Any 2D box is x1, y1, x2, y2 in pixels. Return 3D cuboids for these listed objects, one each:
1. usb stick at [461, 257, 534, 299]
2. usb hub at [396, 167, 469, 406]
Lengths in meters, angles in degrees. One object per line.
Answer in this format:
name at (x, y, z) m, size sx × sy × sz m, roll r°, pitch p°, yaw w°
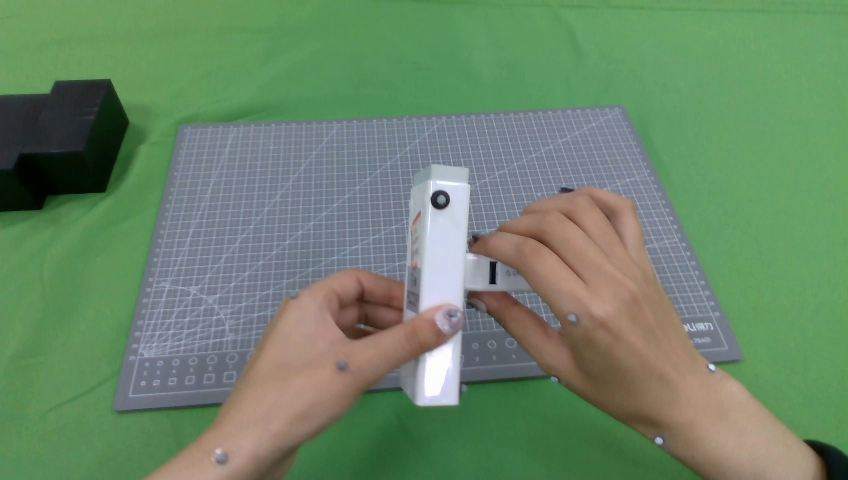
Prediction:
usb stick at (0.031, 0.021, 0.346) m, size 0.059 × 0.021 × 0.027 m, roll 2°, pitch 5°, yaw -9°
usb hub at (0.004, 0.025, 0.336) m, size 0.025 × 0.049 × 0.125 m, roll 3°, pitch 89°, yaw -13°
